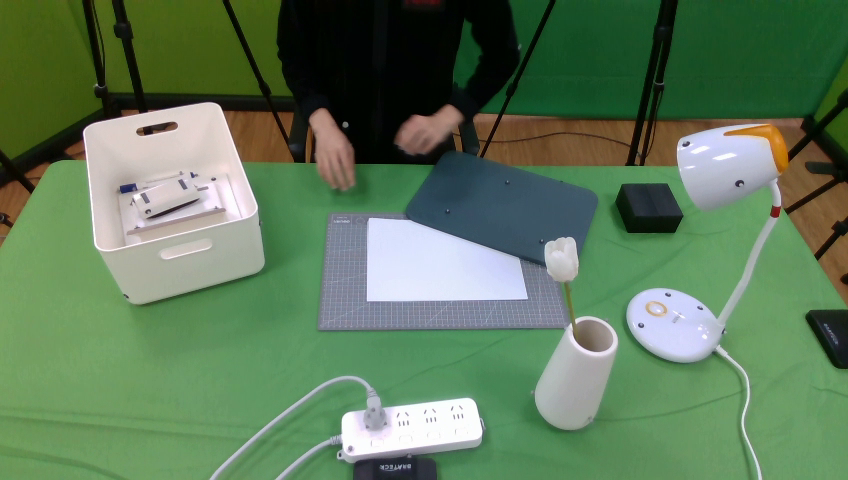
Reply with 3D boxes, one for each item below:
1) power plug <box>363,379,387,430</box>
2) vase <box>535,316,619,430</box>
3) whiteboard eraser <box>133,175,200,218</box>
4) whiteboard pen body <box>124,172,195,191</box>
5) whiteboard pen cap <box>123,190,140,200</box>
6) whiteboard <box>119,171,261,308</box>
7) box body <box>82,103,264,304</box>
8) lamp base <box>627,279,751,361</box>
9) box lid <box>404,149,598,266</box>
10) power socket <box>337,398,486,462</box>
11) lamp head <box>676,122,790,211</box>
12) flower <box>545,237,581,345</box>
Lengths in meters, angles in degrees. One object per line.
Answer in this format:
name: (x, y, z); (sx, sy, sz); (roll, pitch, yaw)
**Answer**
power plug: (-0.071, 0.252, 0.911); (0.035, 0.053, 0.072); (3, 40, 0)
vase: (0.229, 0.200, 0.901); (0.098, 0.201, 0.097); (3, 46, -3)
whiteboard eraser: (-0.499, -0.082, 1.177); (0.113, 0.042, 0.055); (-26, 60, -25)
whiteboard pen body: (-0.553, -0.120, 1.269); (0.141, 0.017, 0.017); (-16, 50, -18)
whiteboard pen cap: (-0.592, -0.092, 1.232); (0.033, 0.018, 0.018); (-14, 49, -17)
whiteboard: (-0.464, -0.060, 1.137); (0.217, 0.144, 0.303); (-18, 51, -17)
box body: (-0.465, -0.077, 1.137); (0.254, 0.161, 0.361); (-16, 50, -19)
lamp base: (0.460, 0.100, 1.027); (0.178, 0.181, 0.160); (27, 51, 17)
box lid: (0.171, -0.074, 1.289); (0.371, 0.015, 0.262); (19, 47, 14)
power socket: (-0.018, 0.285, 0.914); (0.227, 0.033, 0.071); (-4, 46, -8)
lamp head: (0.423, -0.104, 0.819); (0.122, 0.113, 0.112); (-13, 33, 40)
flower: (0.213, 0.137, 0.846); (0.038, 0.364, 0.044); (21, 55, 40)
